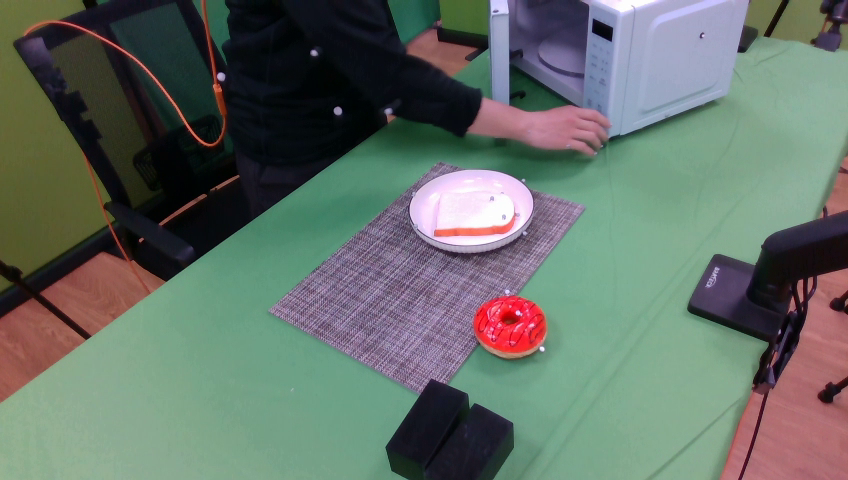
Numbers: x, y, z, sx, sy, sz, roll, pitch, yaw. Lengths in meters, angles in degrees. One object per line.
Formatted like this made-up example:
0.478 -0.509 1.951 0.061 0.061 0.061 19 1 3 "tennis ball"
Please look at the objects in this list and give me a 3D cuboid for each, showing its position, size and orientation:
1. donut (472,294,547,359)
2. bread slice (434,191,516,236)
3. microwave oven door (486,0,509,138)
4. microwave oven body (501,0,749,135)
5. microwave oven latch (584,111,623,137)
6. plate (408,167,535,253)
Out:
0.114 0.114 0.803 0.099 0.048 0.098 0 40 1 "donut"
0.085 -0.046 0.996 0.131 0.019 0.104 -1 41 7 "bread slice"
0.147 -0.402 1.223 0.039 0.245 0.354 -1 41 6 "microwave oven door"
0.382 -0.444 1.246 0.327 0.261 0.437 -22 42 -16 "microwave oven body"
0.337 -0.222 1.142 0.030 0.029 0.078 -21 42 -14 "microwave oven latch"
0.078 -0.047 0.996 0.207 0.039 0.206 -4 41 4 "plate"
